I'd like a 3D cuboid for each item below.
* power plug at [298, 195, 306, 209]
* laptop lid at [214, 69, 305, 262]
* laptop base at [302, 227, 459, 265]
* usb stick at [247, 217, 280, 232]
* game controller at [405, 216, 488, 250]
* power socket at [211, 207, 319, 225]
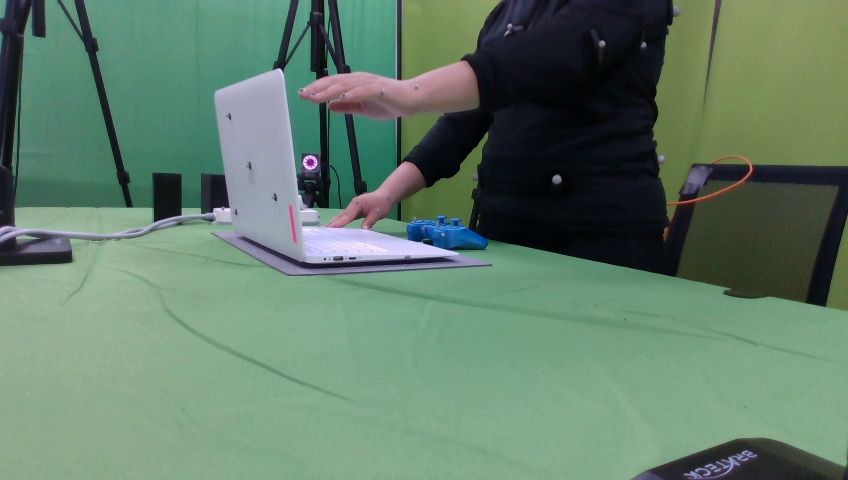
[{"bbox_3d":[-0.283,-0.075,1.342,0.035,0.052,0.072,0,3,-18],"label":"power plug"},{"bbox_3d":[-0.246,-0.107,0.866,0.013,0.241,0.355,-11,14,-30],"label":"laptop lid"},{"bbox_3d":[-0.136,0.007,0.951,0.237,0.023,0.352,2,6,-32],"label":"laptop base"},{"bbox_3d":[-0.296,-0.028,1.114,0.059,0.027,0.021,-4,10,-30],"label":"usb stick"},{"bbox_3d":[0.034,-0.013,1.067,0.097,0.051,0.154,-6,10,-29],"label":"game controller"},{"bbox_3d":[-0.334,-0.051,1.281,0.228,0.032,0.072,-1,9,-29],"label":"power socket"}]
